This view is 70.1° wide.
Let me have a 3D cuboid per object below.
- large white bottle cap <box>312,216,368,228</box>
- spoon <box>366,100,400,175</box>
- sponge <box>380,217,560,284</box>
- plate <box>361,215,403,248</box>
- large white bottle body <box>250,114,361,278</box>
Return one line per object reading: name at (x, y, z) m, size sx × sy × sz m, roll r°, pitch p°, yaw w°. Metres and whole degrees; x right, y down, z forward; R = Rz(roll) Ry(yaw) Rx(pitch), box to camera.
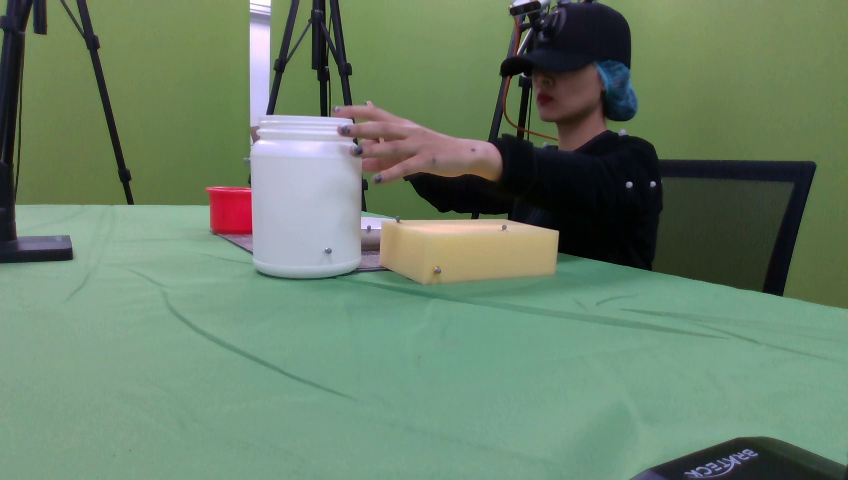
large white bottle cap at (-0.171, -0.038, 1.233) m, size 0.115 × 0.018 × 0.115 m, roll 1°, pitch 5°, yaw 0°
spoon at (-0.083, -0.197, 1.147) m, size 0.042 × 0.193 × 0.021 m, roll -5°, pitch -29°, yaw -19°
sponge at (0.060, 0.009, 0.786) m, size 0.208 × 0.061 × 0.117 m, roll -3°, pitch 11°, yaw -32°
plate at (-0.122, -0.015, 0.984) m, size 0.209 × 0.038 × 0.209 m, roll 2°, pitch 7°, yaw 0°
large white bottle body at (-0.140, -0.056, 0.727) m, size 0.131 × 0.184 × 0.130 m, roll 1°, pitch 10°, yaw 0°
